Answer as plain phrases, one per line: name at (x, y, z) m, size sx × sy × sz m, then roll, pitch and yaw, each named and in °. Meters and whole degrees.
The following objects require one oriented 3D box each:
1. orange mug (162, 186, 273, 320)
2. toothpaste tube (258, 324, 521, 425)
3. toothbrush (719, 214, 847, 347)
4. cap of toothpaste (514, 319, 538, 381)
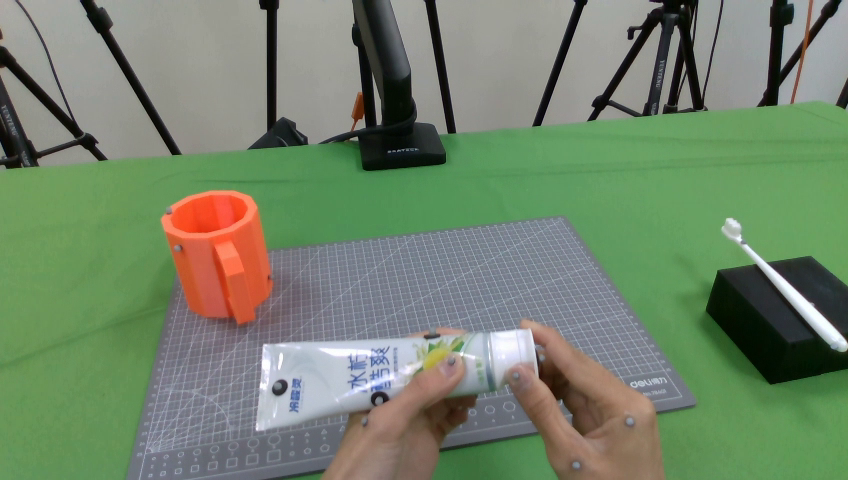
orange mug at (-0.192, 0.017, 0.586) m, size 0.083 × 0.101 × 0.125 m, roll -18°, pitch 35°, yaw -23°
toothpaste tube at (-0.018, 0.073, 0.362) m, size 0.165 × 0.035 × 0.054 m, roll -8°, pitch 55°, yaw 4°
toothbrush at (0.319, 0.029, 0.547) m, size 0.014 × 0.017 × 0.180 m, roll -2°, pitch 35°, yaw -8°
cap of toothpaste at (0.060, 0.064, 0.355) m, size 0.011 × 0.038 × 0.037 m, roll -8°, pitch 35°, yaw 4°
